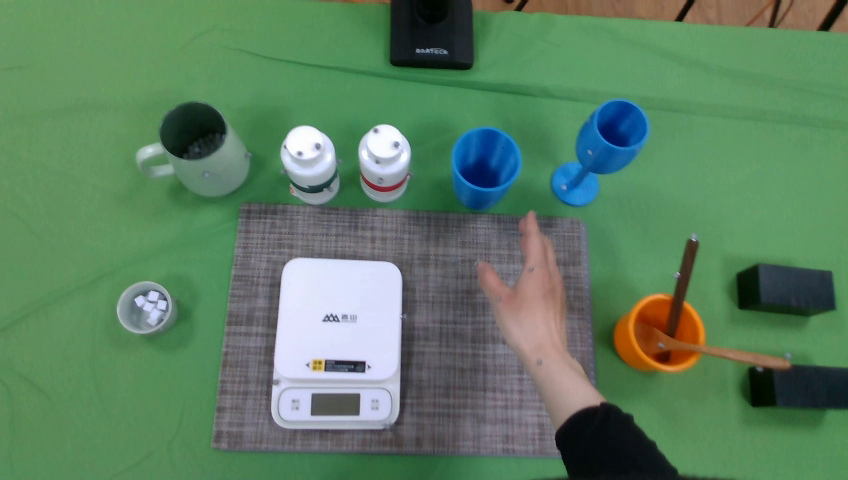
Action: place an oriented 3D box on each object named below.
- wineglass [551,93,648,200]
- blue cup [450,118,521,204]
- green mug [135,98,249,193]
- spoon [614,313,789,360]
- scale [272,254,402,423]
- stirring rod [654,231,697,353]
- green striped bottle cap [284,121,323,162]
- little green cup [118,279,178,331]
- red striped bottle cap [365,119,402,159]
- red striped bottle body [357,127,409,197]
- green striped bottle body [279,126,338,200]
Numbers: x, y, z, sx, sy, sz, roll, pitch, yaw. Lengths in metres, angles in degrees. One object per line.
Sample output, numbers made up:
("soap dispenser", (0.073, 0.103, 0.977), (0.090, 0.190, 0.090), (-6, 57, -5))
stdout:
("wineglass", (0.211, -0.109, 0.749), (0.074, 0.173, 0.073), (1, 73, -3))
("blue cup", (0.072, -0.090, 0.770), (0.093, 0.100, 0.092), (1, 74, -2))
("green mug", (-0.286, -0.109, 0.744), (0.125, 0.105, 0.092), (-19, 77, -9))
("spoon", (0.315, 0.118, 0.706), (0.022, 0.192, 0.041), (25, 77, -43))
("scale", (-0.103, 0.116, 0.729), (0.149, 0.032, 0.200), (2, 75, -4))
("stirring rod", (0.297, 0.067, 0.719), (0.014, 0.177, 0.006), (7, 33, 12))
("green striped bottle cap", (-0.139, -0.113, 0.694), (0.044, 0.020, 0.044), (1, 73, -4))
("little green cup", (-0.325, 0.079, 0.721), (0.061, 0.039, 0.061), (2, 74, -5))
("red striped bottle cap", (-0.047, -0.117, 0.703), (0.044, 0.018, 0.044), (1, 76, -3))
("red striped bottle body", (-0.052, -0.102, 0.753), (0.063, 0.120, 0.062), (1, 73, -5))
("green striped bottle body", (-0.141, -0.098, 0.744), (0.063, 0.120, 0.063), (1, 73, -4))
